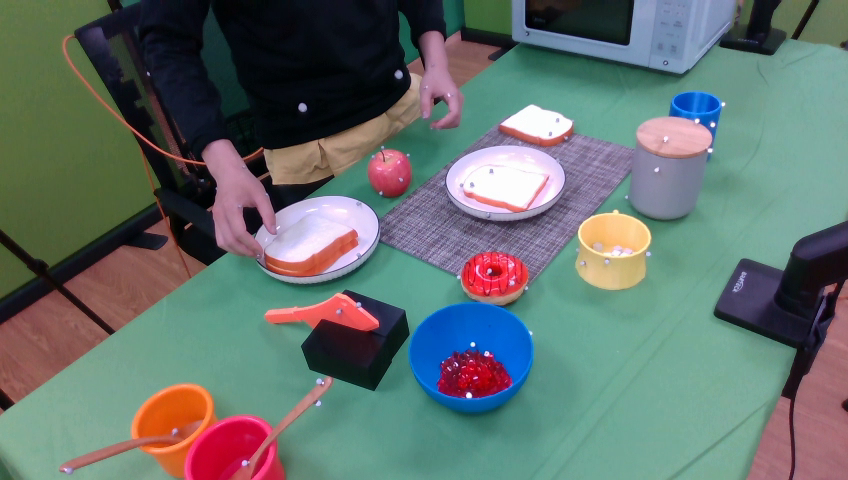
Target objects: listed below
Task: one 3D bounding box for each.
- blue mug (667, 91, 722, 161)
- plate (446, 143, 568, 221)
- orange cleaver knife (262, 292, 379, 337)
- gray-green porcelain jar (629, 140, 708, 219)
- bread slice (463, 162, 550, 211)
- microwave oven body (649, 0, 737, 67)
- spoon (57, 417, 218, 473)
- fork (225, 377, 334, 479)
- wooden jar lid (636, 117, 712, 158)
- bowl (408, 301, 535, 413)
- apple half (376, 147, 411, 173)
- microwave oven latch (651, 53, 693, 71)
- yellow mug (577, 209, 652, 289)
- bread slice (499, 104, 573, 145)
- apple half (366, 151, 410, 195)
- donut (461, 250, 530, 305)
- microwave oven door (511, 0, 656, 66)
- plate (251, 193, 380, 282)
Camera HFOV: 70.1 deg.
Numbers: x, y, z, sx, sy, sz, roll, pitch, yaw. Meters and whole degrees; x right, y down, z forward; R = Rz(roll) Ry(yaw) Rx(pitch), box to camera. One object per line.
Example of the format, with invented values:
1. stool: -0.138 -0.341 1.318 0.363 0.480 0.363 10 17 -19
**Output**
1. blue mug: 0.474 -0.207 1.079 0.082 0.106 0.116 4 42 13
2. plate: 0.142 -0.097 1.045 0.207 0.039 0.206 -4 40 4
3. orange cleaver knife: -0.145 0.107 0.821 0.210 0.077 0.012 -13 36 43
4. gray-green porcelain jar: 0.383 -0.105 0.958 0.106 0.127 0.105 -4 41 4
5. bread slice: 0.135 -0.094 1.045 0.133 0.018 0.107 15 45 23
6. microwave oven body: 0.475 -0.602 1.411 0.438 0.261 0.327 23 50 32
7. spoon: -0.304 0.221 0.661 0.041 0.195 0.021 19 92 27
8. fork: -0.163 0.216 0.646 0.207 0.019 0.028 -49 42 16
9. wooden jar lid: 0.377 -0.151 0.917 0.108 0.021 0.108 -2 41 3
10. bowl: 0.060 0.156 0.739 0.151 0.077 0.150 -4 40 4
11. apple half: -0.052 -0.139 1.100 0.081 0.081 0.033 17 51 25
12. microwave oven latch: 0.532 -0.386 1.301 0.078 0.029 0.030 27 52 34
13. yellow mug: 0.279 0.004 0.893 0.099 0.064 0.130 5 42 14
14. bread slice: 0.231 -0.231 1.205 0.105 0.019 0.130 -36 47 -29
15. apple half: -0.070 -0.114 1.075 0.080 0.075 0.053 17 51 23
16. donut: 0.103 0.053 0.872 0.099 0.048 0.098 -4 40 4
17. microwave oven door: 0.351 -0.540 1.349 0.353 0.245 0.039 24 50 31
18. plate: -0.173 -0.001 0.984 0.209 0.038 0.208 -3 41 3
